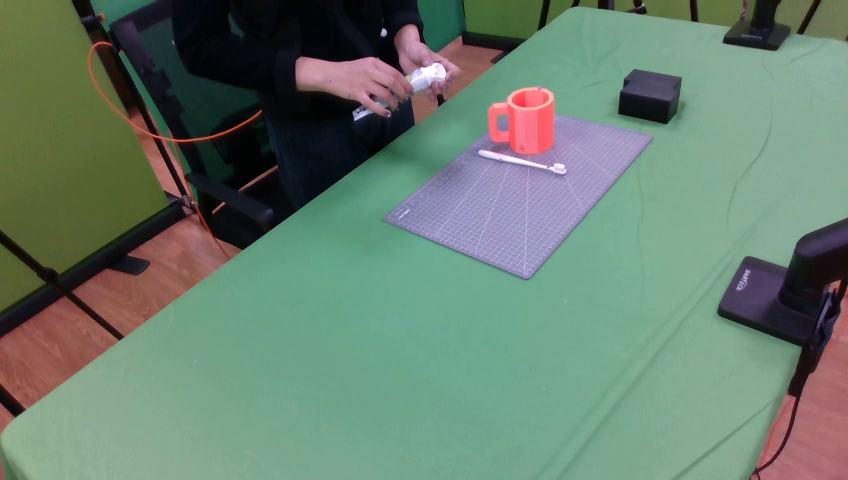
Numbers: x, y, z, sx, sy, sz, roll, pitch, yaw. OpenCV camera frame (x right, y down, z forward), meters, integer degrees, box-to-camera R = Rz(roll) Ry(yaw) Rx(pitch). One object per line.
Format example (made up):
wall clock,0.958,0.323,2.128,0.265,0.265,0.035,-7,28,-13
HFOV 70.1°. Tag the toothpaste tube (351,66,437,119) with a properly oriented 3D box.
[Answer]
toothpaste tube,-0.052,-0.256,1.049,0.165,0.035,0.055,-27,25,2

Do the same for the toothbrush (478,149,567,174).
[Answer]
toothbrush,0.179,-0.149,1.122,0.180,0.017,0.014,18,63,30

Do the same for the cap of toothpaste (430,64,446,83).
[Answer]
cap of toothpaste,0.025,-0.296,1.069,0.037,0.037,0.011,-41,10,-31

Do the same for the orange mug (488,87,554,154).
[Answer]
orange mug,0.185,-0.227,1.151,0.126,0.101,0.083,1,41,5
